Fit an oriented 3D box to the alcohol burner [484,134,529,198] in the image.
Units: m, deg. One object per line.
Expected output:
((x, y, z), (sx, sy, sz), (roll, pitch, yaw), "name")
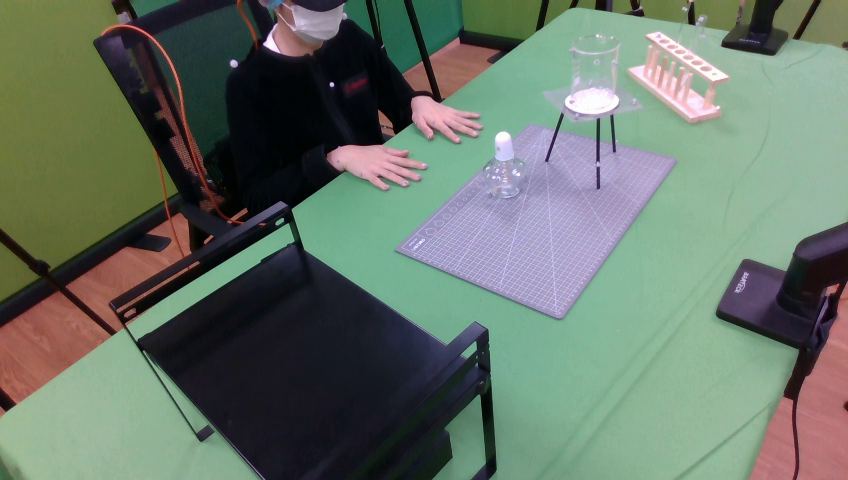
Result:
((0.141, -0.133, 1.041), (0.078, 0.119, 0.077), (-5, 43, 5), "alcohol burner")

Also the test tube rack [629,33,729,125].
((0.516, -0.337, 1.247), (0.067, 0.085, 0.240), (-14, 41, -7), "test tube rack")

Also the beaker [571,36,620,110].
((0.280, -0.272, 0.990), (0.073, 0.101, 0.084), (17, 47, 28), "beaker")

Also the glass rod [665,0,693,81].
((0.525, -0.418, 1.239), (0.008, 0.200, 0.008), (1, 42, 0), "glass rod")

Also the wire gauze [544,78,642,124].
((0.282, -0.234, 1.021), (0.125, 0.011, 0.120), (-17, 38, -4), "wire gauze")

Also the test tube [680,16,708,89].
((0.534, -0.370, 1.204), (0.017, 0.151, 0.017), (1, 42, 0), "test tube")

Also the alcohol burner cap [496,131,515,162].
((0.135, -0.160, 1.019), (0.034, 0.048, 0.033), (-8, 38, 7), "alcohol burner cap")

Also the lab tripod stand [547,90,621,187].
((0.289, -0.184, 1.062), (0.148, 0.132, 0.147), (-6, 41, 6), "lab tripod stand")
